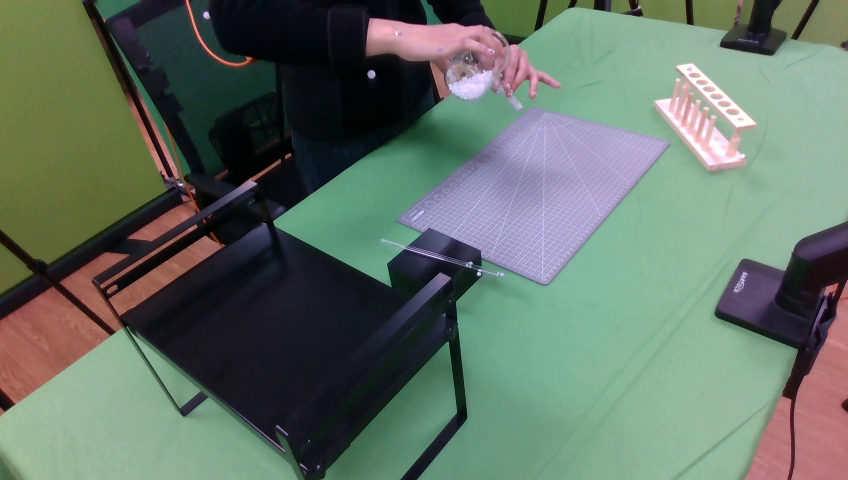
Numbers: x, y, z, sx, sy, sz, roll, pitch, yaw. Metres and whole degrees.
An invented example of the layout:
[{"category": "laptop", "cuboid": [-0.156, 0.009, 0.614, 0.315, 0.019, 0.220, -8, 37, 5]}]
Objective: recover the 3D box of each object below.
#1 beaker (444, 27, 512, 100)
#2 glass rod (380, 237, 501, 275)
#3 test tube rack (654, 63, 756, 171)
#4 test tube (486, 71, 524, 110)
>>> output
[{"category": "beaker", "cuboid": [0.081, -0.265, 0.925, 0.073, 0.084, 0.100, 16, 49, 25]}, {"category": "glass rod", "cuboid": [0.020, 0.023, 0.881, 0.198, 0.008, 0.008, 16, 46, 25]}, {"category": "test tube rack", "cuboid": [0.510, -0.233, 1.120, 0.067, 0.085, 0.241, -8, 41, -1]}, {"category": "test tube", "cuboid": [0.142, -0.256, 1.042, 0.017, 0.151, 0.017, -5, 79, 27]}]
